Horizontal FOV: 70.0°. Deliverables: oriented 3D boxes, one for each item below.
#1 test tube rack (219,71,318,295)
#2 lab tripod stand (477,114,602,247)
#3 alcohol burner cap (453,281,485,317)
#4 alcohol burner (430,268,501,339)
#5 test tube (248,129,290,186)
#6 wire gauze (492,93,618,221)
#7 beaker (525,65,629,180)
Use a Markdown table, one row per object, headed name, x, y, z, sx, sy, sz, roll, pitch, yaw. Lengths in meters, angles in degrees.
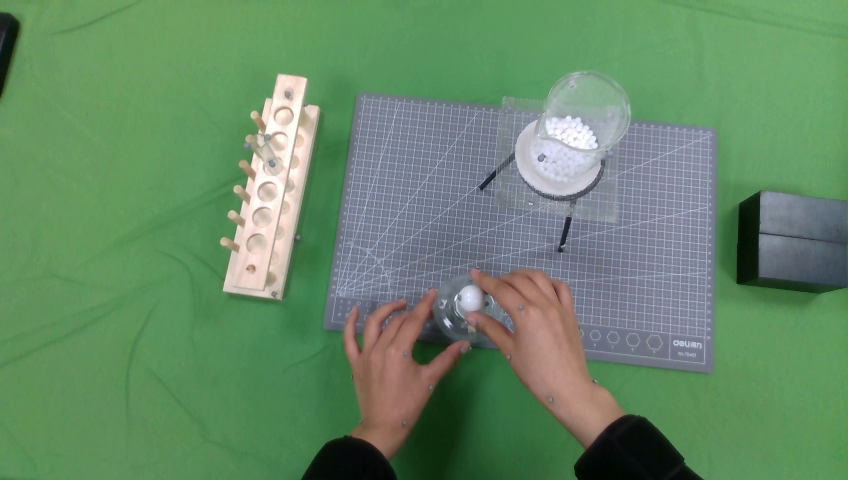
| name | x | y | z | sx | sy | sz | roll | pitch | yaw |
| --- | --- | --- | --- | --- | --- | --- | --- | --- | --- |
| test tube rack | -0.183 | -0.065 | 0.694 | 0.067 | 0.085 | 0.241 | 9 | 78 | 2 |
| lab tripod stand | 0.136 | -0.075 | 0.671 | 0.148 | 0.132 | 0.147 | 0 | 76 | 0 |
| alcohol burner cap | 0.046 | 0.059 | 0.615 | 0.034 | 0.048 | 0.033 | -1 | 73 | 3 |
| alcohol burner | 0.046 | 0.066 | 0.651 | 0.078 | 0.119 | 0.077 | 0 | 78 | -2 |
| test tube | -0.162 | -0.084 | 0.647 | 0.017 | 0.150 | 0.017 | 0 | 79 | -2 |
| wire gauze | 0.132 | -0.086 | 0.606 | 0.125 | 0.011 | 0.121 | 8 | 79 | -1 |
| beaker | 0.133 | -0.101 | 0.560 | 0.084 | 0.100 | 0.073 | -27 | 79 | -6 |
